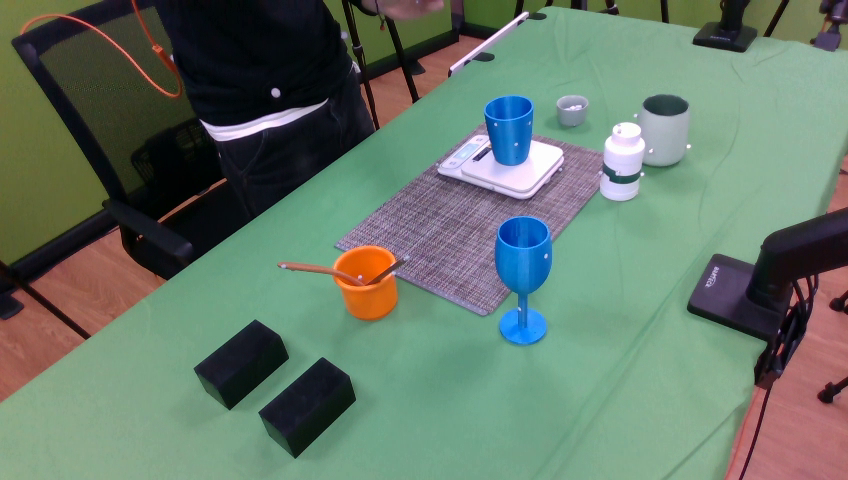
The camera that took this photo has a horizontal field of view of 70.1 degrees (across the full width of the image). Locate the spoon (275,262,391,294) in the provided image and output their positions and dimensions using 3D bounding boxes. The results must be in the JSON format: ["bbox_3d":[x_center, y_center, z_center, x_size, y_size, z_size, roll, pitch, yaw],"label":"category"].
[{"bbox_3d":[-0.120,0.050,0.830,0.041,0.195,0.021,32,97,45],"label":"spoon"}]

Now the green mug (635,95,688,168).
[{"bbox_3d":[0.421,-0.201,1.081,0.092,0.105,0.125,5,42,15],"label":"green mug"}]

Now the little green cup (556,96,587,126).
[{"bbox_3d":[0.295,-0.258,1.214,0.061,0.039,0.061,-4,42,4],"label":"little green cup"}]

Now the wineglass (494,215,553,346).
[{"bbox_3d":[0.127,0.055,0.770,0.074,0.173,0.073,-4,40,4],"label":"wineglass"}]

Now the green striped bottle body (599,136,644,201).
[{"bbox_3d":[0.326,-0.128,0.997,0.063,0.120,0.063,-4,41,4],"label":"green striped bottle body"}]

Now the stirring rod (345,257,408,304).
[{"bbox_3d":[-0.067,0.057,0.815,0.014,0.175,0.006,-24,82,-38],"label":"stirring rod"}]

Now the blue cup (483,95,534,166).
[{"bbox_3d":[0.149,-0.187,1.051,0.092,0.101,0.092,-6,41,6],"label":"blue cup"}]

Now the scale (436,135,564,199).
[{"bbox_3d":[0.137,-0.142,1.101,0.199,0.032,0.149,22,48,30],"label":"scale"}]

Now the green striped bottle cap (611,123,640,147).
[{"bbox_3d":[0.322,-0.168,0.963,0.044,0.020,0.044,-3,42,3],"label":"green striped bottle cap"}]
